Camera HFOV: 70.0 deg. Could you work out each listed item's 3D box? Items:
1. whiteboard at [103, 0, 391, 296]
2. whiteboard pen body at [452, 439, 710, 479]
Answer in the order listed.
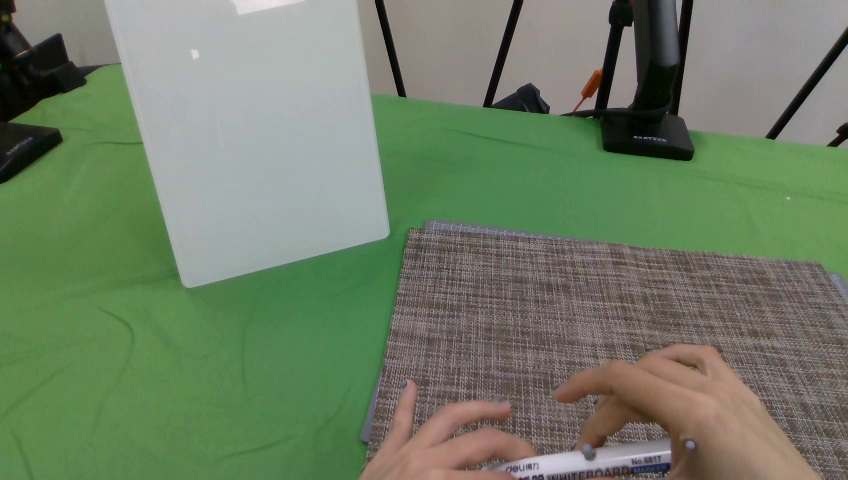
[{"bbox_3d":[-0.178,-0.132,0.628,0.218,0.307,0.142,-15,22,-21],"label":"whiteboard"},{"bbox_3d":[0.078,0.120,0.326,0.140,0.017,0.017,-14,30,26],"label":"whiteboard pen body"}]
